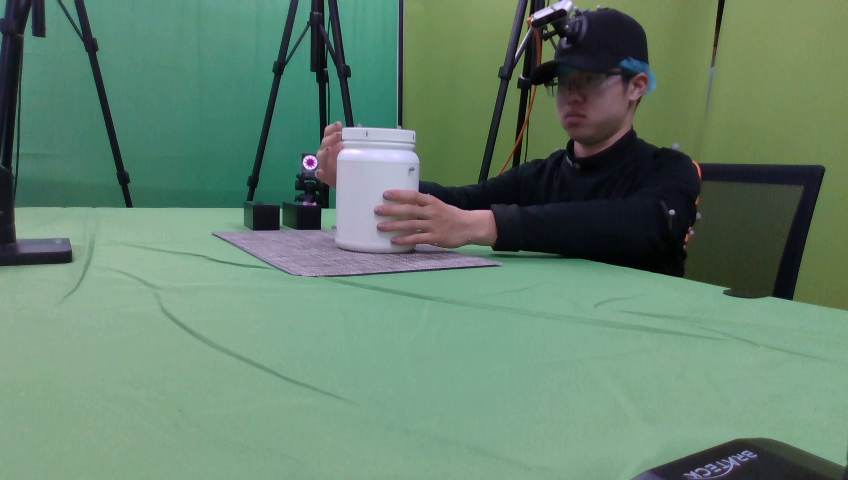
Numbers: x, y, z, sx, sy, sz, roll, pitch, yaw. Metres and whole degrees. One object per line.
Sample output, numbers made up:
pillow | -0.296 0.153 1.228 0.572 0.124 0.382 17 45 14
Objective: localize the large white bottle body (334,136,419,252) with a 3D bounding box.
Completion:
large white bottle body | -0.074 -0.080 0.951 0.131 0.184 0.130 2 8 0

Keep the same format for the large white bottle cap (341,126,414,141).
large white bottle cap | -0.072 -0.165 0.939 0.115 0.018 0.115 2 7 0
